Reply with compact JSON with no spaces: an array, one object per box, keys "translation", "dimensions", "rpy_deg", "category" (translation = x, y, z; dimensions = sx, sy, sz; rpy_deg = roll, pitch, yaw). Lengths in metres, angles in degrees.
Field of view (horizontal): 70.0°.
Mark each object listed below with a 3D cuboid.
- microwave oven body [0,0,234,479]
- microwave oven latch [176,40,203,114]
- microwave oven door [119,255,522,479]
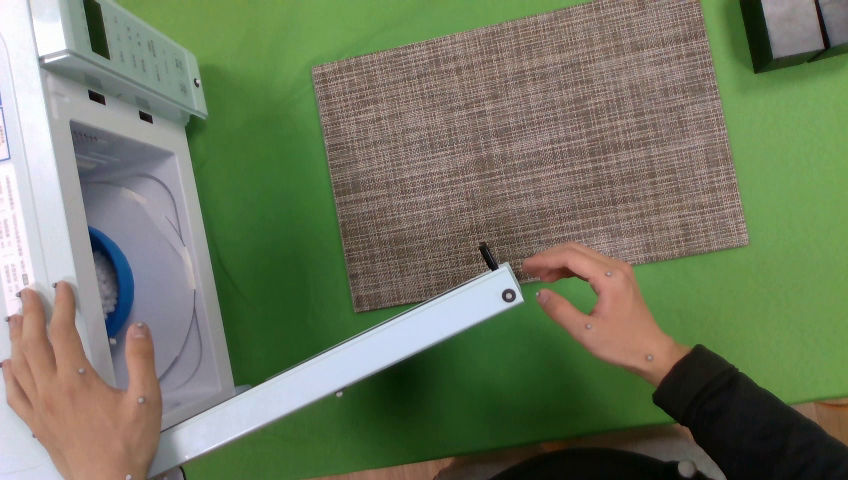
[{"translation":[-0.407,0.010,0.635],"dimensions":[0.326,0.260,0.441],"rpy_deg":[-13,88,7],"category":"microwave oven body"},{"translation":[-0.287,-0.192,0.717],"dimensions":[0.030,0.029,0.079],"rpy_deg":[-12,89,7],"category":"microwave oven latch"},{"translation":[-0.072,0.109,0.584],"dimensions":[0.356,0.244,0.039],"rpy_deg":[-27,85,7],"category":"microwave oven door"}]
